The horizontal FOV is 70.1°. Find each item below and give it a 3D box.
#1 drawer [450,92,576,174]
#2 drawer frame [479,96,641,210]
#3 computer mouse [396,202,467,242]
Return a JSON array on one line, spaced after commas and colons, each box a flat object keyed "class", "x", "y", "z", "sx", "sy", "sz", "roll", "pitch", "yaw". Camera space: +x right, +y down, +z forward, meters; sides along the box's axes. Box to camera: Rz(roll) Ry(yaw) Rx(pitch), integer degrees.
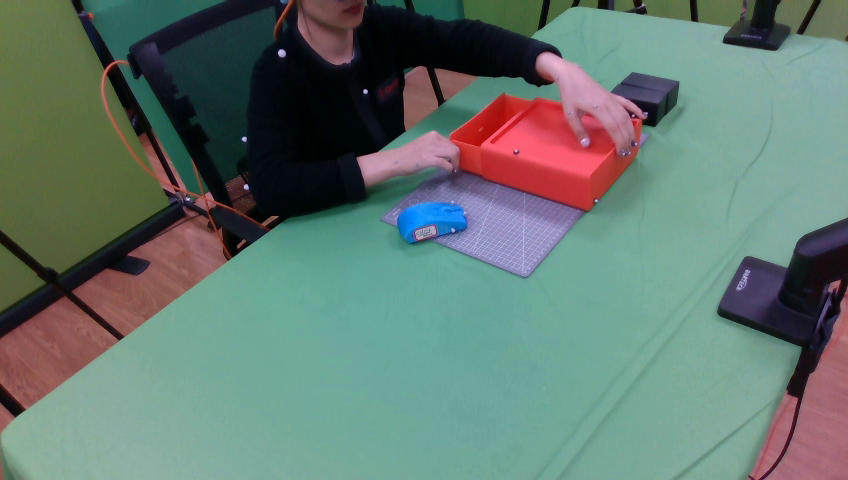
[{"class": "drawer", "x": 0.187, "y": -0.185, "z": 1.114, "sx": 0.210, "sy": 0.073, "sz": 0.195, "roll": 22, "pitch": 47, "yaw": 30}, {"class": "drawer frame", "x": 0.242, "y": -0.162, "z": 1.076, "sx": 0.212, "sy": 0.083, "sz": 0.202, "roll": 22, "pitch": 49, "yaw": 31}, {"class": "computer mouse", "x": 0.012, "y": -0.036, "z": 1.005, "sx": 0.117, "sy": 0.041, "sz": 0.062, "roll": -11, "pitch": 38, "yaw": -8}]
